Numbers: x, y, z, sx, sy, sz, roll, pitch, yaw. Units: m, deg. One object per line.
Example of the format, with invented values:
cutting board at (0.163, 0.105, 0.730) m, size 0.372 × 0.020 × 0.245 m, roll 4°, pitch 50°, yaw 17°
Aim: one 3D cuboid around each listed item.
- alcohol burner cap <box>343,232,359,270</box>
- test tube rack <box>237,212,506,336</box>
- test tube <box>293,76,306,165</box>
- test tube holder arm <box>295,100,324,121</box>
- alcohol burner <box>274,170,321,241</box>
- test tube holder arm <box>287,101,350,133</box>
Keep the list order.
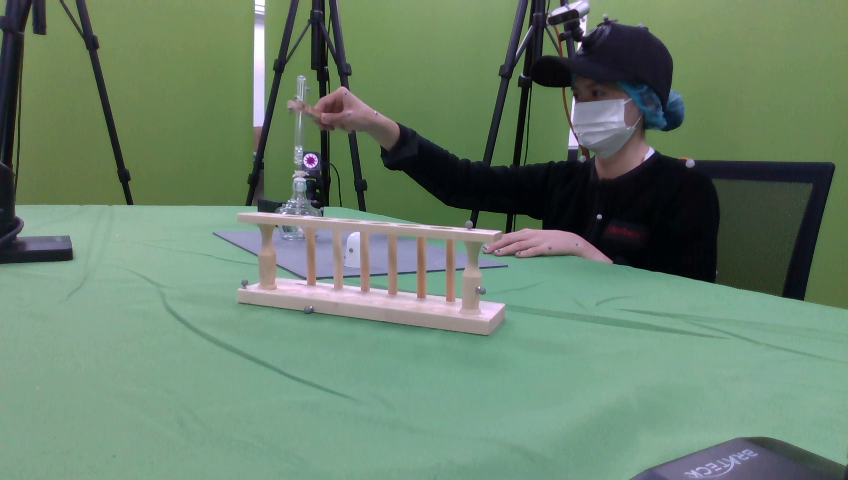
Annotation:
alcohol burner cap at (-0.087, 0.013, 0.776) m, size 0.034 × 0.048 × 0.034 m, roll 3°, pitch 7°, yaw 0°
test tube rack at (-0.049, 0.024, 0.552) m, size 0.242 × 0.085 × 0.067 m, roll 5°, pitch 8°, yaw 18°
test tube at (-0.208, -0.200, 1.012) m, size 0.017 × 0.150 × 0.017 m, roll 2°, pitch -4°, yaw 0°
test tube holder arm at (-0.195, -0.221, 1.033) m, size 0.010 × 0.015 × 0.088 m, roll 3°, pitch -2°, yaw 17°
alcohol burner at (-0.212, -0.058, 1.015) m, size 0.078 × 0.119 × 0.078 m, roll 4°, pitch 5°, yaw 0°
test tube holder arm at (-0.184, -0.218, 1.077) m, size 0.013 × 0.015 × 0.179 m, roll 4°, pitch -2°, yaw 25°
